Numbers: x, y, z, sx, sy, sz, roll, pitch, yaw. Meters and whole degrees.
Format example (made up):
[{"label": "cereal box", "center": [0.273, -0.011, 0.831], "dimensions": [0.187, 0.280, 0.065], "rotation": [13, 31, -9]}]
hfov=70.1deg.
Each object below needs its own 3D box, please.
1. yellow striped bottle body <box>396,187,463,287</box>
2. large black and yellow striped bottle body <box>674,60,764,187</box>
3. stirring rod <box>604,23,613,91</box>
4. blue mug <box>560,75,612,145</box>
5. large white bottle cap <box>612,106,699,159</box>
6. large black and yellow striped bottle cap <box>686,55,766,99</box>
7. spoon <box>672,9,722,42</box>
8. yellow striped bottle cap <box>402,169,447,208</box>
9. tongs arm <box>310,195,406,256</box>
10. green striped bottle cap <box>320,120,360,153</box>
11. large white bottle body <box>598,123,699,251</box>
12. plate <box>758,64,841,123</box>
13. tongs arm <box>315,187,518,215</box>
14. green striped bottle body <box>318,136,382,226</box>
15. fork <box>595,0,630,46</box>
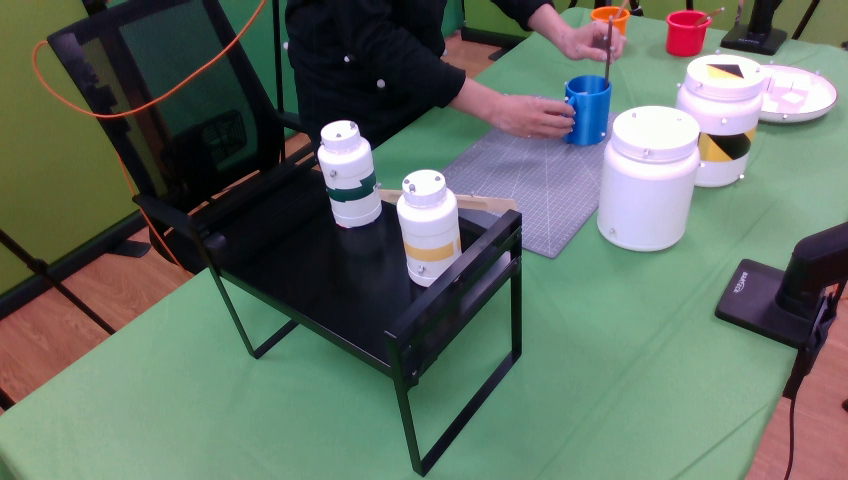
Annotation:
[{"label": "yellow striped bottle body", "center": [0.006, -0.013, 0.638], "dimensions": [0.063, 0.121, 0.062], "rotation": [-5, 41, 4]}, {"label": "large black and yellow striped bottle body", "center": [0.482, -0.196, 1.008], "dimensions": [0.131, 0.185, 0.130], "rotation": [-4, 41, 4]}, {"label": "stirring rod", "center": [0.333, -0.307, 1.097], "dimensions": [0.006, 0.177, 0.014], "rotation": [-5, 40, 5]}, {"label": "blue mug", "center": [0.298, -0.239, 1.143], "dimensions": [0.117, 0.106, 0.081], "rotation": [-34, 47, -26]}, {"label": "large white bottle cap", "center": [0.325, -0.153, 0.850], "dimensions": [0.115, 0.018, 0.114], "rotation": [-4, 41, 4]}, {"label": "large black and yellow striped bottle cap", "center": [0.474, -0.258, 0.952], "dimensions": [0.115, 0.019, 0.114], "rotation": [-5, 41, 5]}, {"label": "spoon", "center": [0.606, -0.476, 1.345], "dimensions": [0.042, 0.021, 0.193], "rotation": [-6, -3, -2]}, {"label": "yellow striped bottle cap", "center": [0.000, -0.052, 0.605], "dimensions": [0.044, 0.019, 0.044], "rotation": [-5, 43, 5]}, {"label": "tongs arm", "center": [-0.078, -0.012, 0.944], "dimensions": [0.028, 0.028, 0.384], "rotation": [-42, 39, -22]}, {"label": "green striped bottle cap", "center": [-0.097, -0.120, 0.699], "dimensions": [0.044, 0.020, 0.044], "rotation": [-3, 41, 3]}, {"label": "large white bottle body", "center": [0.334, -0.090, 0.906], "dimensions": [0.130, 0.185, 0.130], "rotation": [-5, 41, 5]}, {"label": "plate", "center": [0.694, -0.283, 1.189], "dimensions": [0.207, 0.039, 0.206], "rotation": [-4, 40, 4]}, {"label": "tongs arm", "center": [-0.028, -0.060, 0.988], "dimensions": [0.382, 0.027, 0.051], "rotation": [10, 45, 36]}, {"label": "green striped bottle body", "center": [-0.090, -0.080, 0.733], "dimensions": [0.063, 0.120, 0.063], "rotation": [-5, 41, 4]}, {"label": "fork", "center": [0.480, -0.556, 1.453], "dimensions": [0.028, 0.019, 0.207], "rotation": [41, 104, 42]}]
